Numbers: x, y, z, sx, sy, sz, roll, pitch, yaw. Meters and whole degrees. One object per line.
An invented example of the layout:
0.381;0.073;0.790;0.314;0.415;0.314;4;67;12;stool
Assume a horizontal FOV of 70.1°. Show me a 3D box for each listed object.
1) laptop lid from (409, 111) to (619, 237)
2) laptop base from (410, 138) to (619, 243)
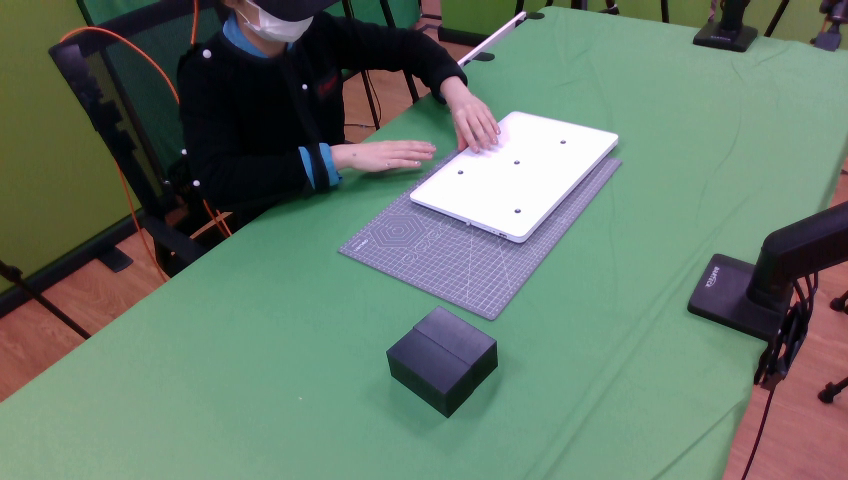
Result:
0.168;-0.136;1.089;0.239;0.013;0.358;23;48;34;laptop lid
0.171;-0.127;1.095;0.233;0.023;0.355;21;47;33;laptop base
